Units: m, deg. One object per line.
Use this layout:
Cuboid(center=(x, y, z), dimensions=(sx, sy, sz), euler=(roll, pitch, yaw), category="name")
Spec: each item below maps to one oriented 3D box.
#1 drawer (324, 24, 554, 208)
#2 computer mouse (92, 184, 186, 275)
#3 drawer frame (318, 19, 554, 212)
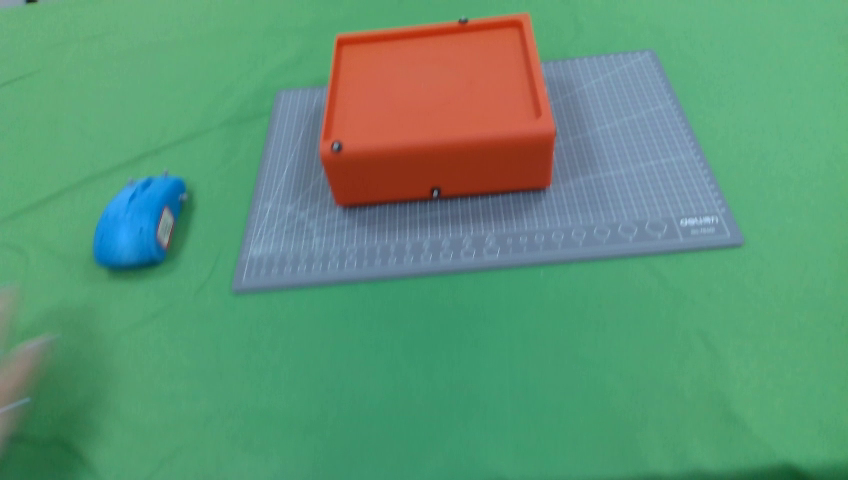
Cuboid(center=(0.015, -0.129, 0.618), dimensions=(0.211, 0.074, 0.192), euler=(-6, 50, 5), category="drawer")
Cuboid(center=(-0.280, -0.016, 0.597), dimensions=(0.063, 0.041, 0.116), euler=(-6, 45, 5), category="computer mouse")
Cuboid(center=(0.013, -0.130, 0.618), dimensions=(0.213, 0.083, 0.199), euler=(-6, 50, 4), category="drawer frame")
